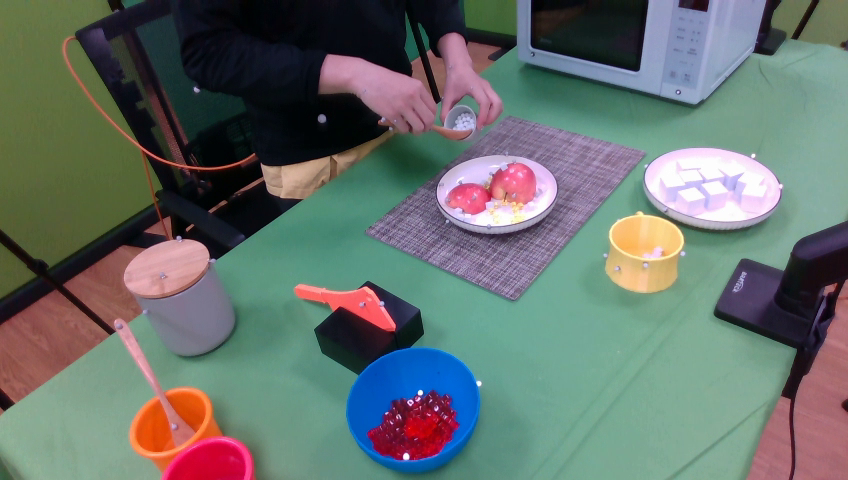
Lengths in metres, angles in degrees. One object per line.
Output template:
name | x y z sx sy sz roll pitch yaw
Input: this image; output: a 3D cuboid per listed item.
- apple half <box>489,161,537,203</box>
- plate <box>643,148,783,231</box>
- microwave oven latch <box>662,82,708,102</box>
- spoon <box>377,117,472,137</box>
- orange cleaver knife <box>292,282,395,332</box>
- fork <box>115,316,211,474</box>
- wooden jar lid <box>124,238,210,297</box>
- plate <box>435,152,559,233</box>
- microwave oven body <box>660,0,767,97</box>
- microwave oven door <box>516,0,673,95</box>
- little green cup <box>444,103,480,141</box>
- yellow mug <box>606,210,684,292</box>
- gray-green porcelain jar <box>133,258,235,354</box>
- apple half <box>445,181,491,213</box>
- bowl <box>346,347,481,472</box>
apple half | 0.154 -0.106 1.030 0.080 0.053 0.075 21 46 31
plate | 0.464 -0.080 0.986 0.207 0.039 0.206 -4 41 4
microwave oven latch | 0.518 -0.298 1.203 0.078 0.029 0.030 28 53 35
spoon | 0.003 -0.185 0.975 0.195 0.021 0.041 2 -3 -40
orange cleaver knife | -0.116 0.091 0.835 0.209 0.077 0.012 2 32 48
fork | -0.308 0.179 0.708 0.028 0.018 0.207 -30 89 -22
wooden jar lid | -0.335 0.038 0.794 0.108 0.021 0.108 -2 40 2
plate | 0.124 -0.078 1.026 0.209 0.038 0.208 -4 40 4
microwave oven body | 0.474 -0.517 1.313 0.438 0.261 0.327 26 51 34
microwave oven door | 0.344 -0.458 1.257 0.353 0.245 0.039 26 52 33
little green cup | 0.068 -0.202 1.045 0.061 0.039 0.061 -2 82 16
yellow mug | 0.318 0.007 0.883 0.100 0.064 0.130 0 41 8
gray-green porcelain jar | -0.327 0.086 0.836 0.106 0.127 0.105 -4 41 4
apple half | 0.076 -0.083 1.029 0.081 0.033 0.081 -1 42 2
bowl | -0.008 0.205 0.691 0.151 0.077 0.150 -4 40 4
